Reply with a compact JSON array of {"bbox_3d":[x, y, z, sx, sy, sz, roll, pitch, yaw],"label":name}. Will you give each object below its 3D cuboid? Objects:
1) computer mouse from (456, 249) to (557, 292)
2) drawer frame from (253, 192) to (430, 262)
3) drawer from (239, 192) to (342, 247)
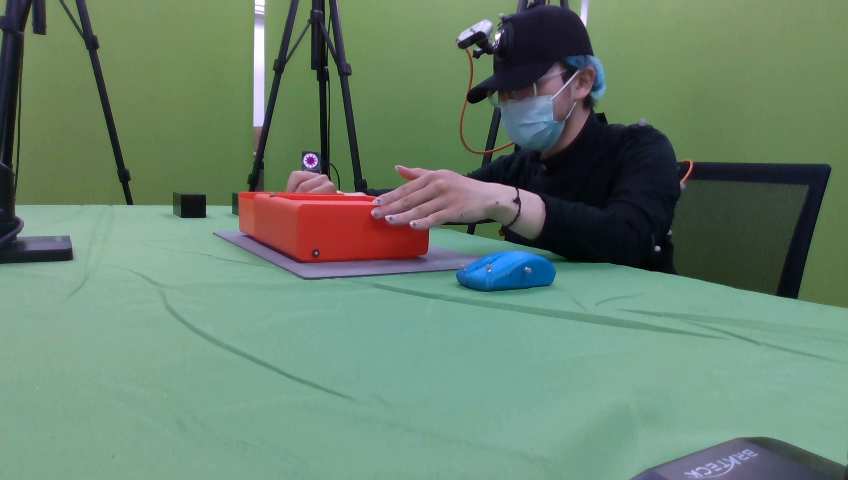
[{"bbox_3d":[0.097,0.034,0.709,0.118,0.041,0.062,-7,12,-31],"label":"computer mouse"},{"bbox_3d":[-0.130,-0.026,0.909,0.203,0.082,0.212,-1,9,-31],"label":"drawer frame"},{"bbox_3d":[-0.183,-0.037,0.994,0.195,0.073,0.210,-1,9,-30],"label":"drawer"}]
